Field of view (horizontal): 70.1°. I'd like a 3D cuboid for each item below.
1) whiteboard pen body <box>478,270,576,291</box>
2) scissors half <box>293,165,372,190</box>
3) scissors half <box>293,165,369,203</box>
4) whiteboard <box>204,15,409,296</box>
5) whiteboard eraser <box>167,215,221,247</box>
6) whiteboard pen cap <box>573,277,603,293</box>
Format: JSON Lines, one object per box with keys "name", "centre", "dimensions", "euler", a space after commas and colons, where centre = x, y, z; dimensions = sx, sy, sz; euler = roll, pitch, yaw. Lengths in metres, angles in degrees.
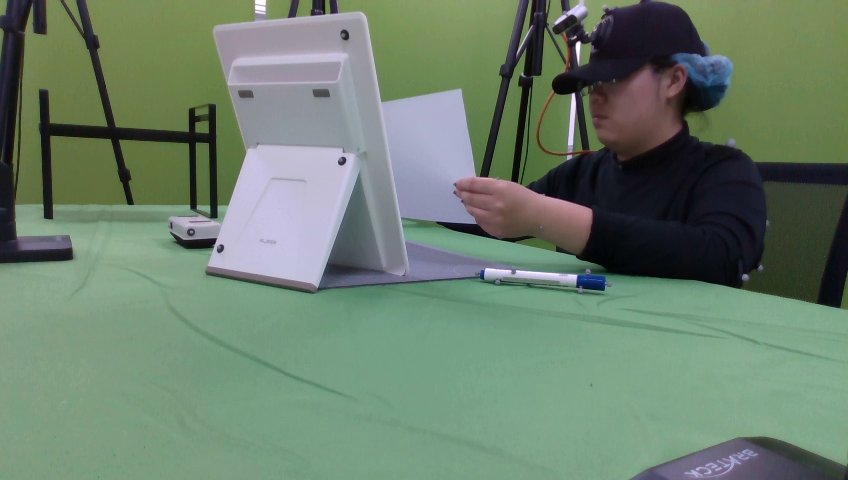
{"name": "whiteboard pen body", "centre": [0.132, 0.048, 0.706], "dimensions": [0.140, 0.017, 0.017], "euler": [4, 7, 18]}
{"name": "scissors half", "centre": [-0.197, -0.142, 1.306], "dimensions": [0.175, 0.040, 0.013], "euler": [11, 23, -3]}
{"name": "scissors half", "centre": [-0.203, -0.124, 1.313], "dimensions": [0.175, 0.040, 0.013], "euler": [26, 17, -8]}
{"name": "whiteboard", "centre": [-0.166, -0.072, 0.669], "dimensions": [0.216, 0.305, 0.144], "euler": [8, 30, 30]}
{"name": "whiteboard eraser", "centre": [-0.350, -0.014, 0.920], "dimensions": [0.056, 0.042, 0.112], "euler": [0, 7, -35]}
{"name": "whiteboard pen cap", "centre": [0.186, 0.051, 0.687], "dimensions": [0.033, 0.018, 0.018], "euler": [4, 8, 17]}
